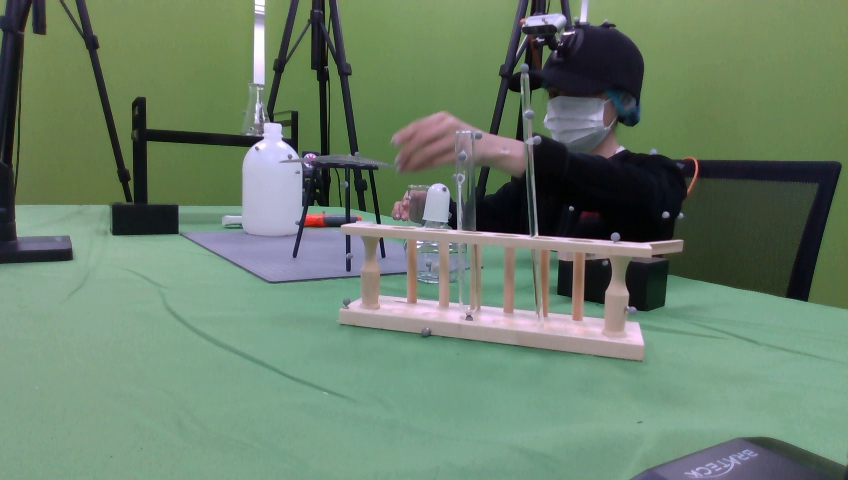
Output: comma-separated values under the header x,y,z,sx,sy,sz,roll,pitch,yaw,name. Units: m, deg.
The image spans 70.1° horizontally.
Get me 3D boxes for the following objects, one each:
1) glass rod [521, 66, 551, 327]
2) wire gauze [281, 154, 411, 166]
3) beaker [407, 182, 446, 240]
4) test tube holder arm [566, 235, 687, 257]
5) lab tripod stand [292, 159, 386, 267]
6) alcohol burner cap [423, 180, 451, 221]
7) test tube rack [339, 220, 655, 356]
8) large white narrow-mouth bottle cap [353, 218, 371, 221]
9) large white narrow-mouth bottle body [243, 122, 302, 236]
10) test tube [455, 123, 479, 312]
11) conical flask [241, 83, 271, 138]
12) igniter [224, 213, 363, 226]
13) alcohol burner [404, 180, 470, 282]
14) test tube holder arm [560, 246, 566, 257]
x,y,z,sx,sy,sz,roll,pitch,yaw,name
0.085,-0.028,0.454,0.008,0.199,0.008,-7,10,1,glass rod
-0.102,-0.105,0.785,0.121,0.011,0.126,8,8,42,wire gauze
0.008,-0.053,1.102,0.074,0.100,0.083,-6,12,-43,beaker
0.215,0.006,0.630,0.179,0.015,0.013,-3,9,-30,test tube holder arm
-0.105,-0.039,0.797,0.148,0.131,0.148,2,5,0,lab tripod stand
0.017,-0.046,0.711,0.034,0.048,0.034,7,5,0,alcohol burner cap
0.056,0.032,0.495,0.242,0.085,0.067,4,7,15,test tube rack
-0.120,-0.029,1.184,0.038,0.024,0.037,2,8,0,large white narrow-mouth bottle cap
-0.265,-0.109,1.061,0.102,0.194,0.102,2,8,0,large white narrow-mouth bottle body
0.034,-0.016,0.476,0.017,0.150,0.017,-2,10,1,test tube
-0.384,-0.297,1.393,0.075,0.122,0.075,2,7,0,conical flask
-0.255,-0.041,1.210,0.278,0.025,0.057,-2,-2,-31,igniter
0.015,-0.011,0.715,0.078,0.119,0.078,0,7,0,alcohol burner
0.173,0.007,0.611,0.088,0.015,0.010,-3,9,-30,test tube holder arm
